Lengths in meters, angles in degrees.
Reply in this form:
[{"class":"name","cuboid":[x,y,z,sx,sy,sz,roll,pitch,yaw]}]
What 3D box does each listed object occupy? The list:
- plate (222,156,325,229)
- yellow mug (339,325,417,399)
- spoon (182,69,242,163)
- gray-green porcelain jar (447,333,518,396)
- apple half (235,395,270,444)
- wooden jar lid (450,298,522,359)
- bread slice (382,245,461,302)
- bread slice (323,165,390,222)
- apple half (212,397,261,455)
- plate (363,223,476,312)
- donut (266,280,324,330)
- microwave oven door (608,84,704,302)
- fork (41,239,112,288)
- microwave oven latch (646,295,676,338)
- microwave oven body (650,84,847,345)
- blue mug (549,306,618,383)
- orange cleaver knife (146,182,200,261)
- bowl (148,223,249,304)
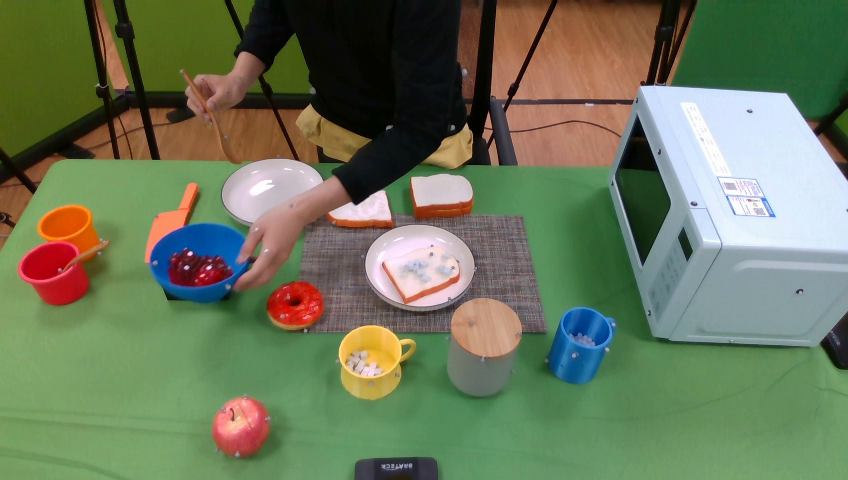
[{"class":"plate","cuboid":[-0.308,-0.094,1.251,0.209,0.038,0.208,2,47,-2]},{"class":"yellow mug","cuboid":[-0.072,0.190,0.978,0.131,0.064,0.099,-17,50,-20]},{"class":"spoon","cuboid":[-0.393,-0.228,1.126,0.021,0.194,0.041,-15,25,15]},{"class":"gray-green porcelain jar","cuboid":[0.091,0.178,0.960,0.106,0.127,0.105,2,46,-2]},{"class":"apple half","cuboid":[-0.245,0.260,0.893,0.033,0.082,0.081,-29,55,-22]},{"class":"wooden jar lid","cuboid":[0.093,0.135,0.914,0.108,0.021,0.107,3,48,-3]},{"class":"bread slice","cuboid":[0.000,0.054,1.128,0.132,0.019,0.104,-20,51,-21]},{"class":"bread slice","cuboid":[-0.141,-0.092,1.223,0.134,0.018,0.106,-20,51,6]},{"class":"apple half","cuboid":[-0.276,0.277,0.877,0.053,0.075,0.080,-29,58,-21]},{"class":"plate","cuboid":[-0.009,0.054,1.126,0.208,0.039,0.206,2,46,-2]},{"class":"donut","cuboid":[-0.223,0.112,1.051,0.099,0.048,0.098,3,45,-3]},{"class":"microwave oven door","cuboid":[0.424,-0.096,1.137,0.039,0.245,0.353,3,46,-1]},{"class":"fork","cuboid":[-0.591,0.040,1.028,0.207,0.019,0.028,-27,37,29]},{"class":"microwave oven latch","cuboid":[0.413,0.133,1.061,0.030,0.029,0.078,4,46,1]},{"class":"microwave oven body","cuboid":[0.569,-0.054,1.116,0.326,0.261,0.439,2,46,-1]},{"class":"blue mug","cuboid":[0.269,0.167,0.997,0.116,0.106,0.082,-19,51,-21]},{"class":"orange cleaver knife","cuboid":[-0.494,-0.039,1.199,0.077,0.012,0.210,-3,48,2]},{"class":"bowl","cuboid":[-0.357,0.050,0.978,0.151,0.077,0.150,5,43,-4]}]
